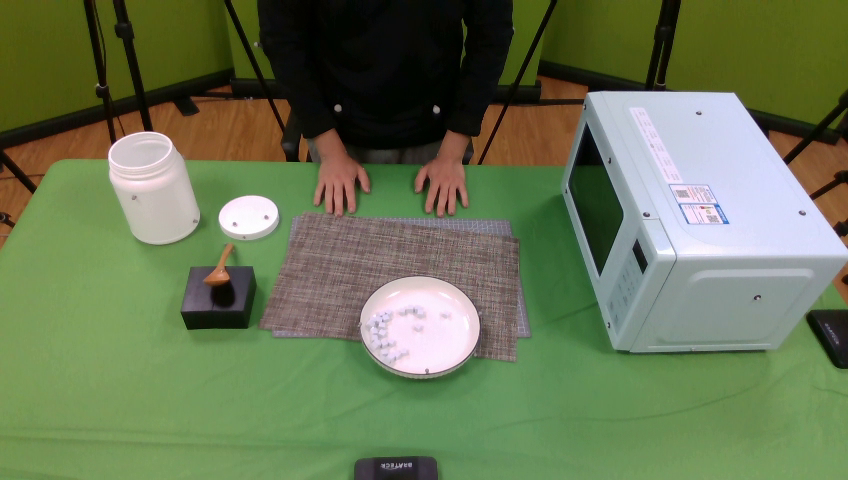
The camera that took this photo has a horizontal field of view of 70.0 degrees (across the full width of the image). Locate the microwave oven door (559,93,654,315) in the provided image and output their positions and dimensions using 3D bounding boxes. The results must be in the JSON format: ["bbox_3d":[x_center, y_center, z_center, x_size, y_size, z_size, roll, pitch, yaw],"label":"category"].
[{"bbox_3d":[0.327,-0.074,1.123,0.039,0.245,0.353,-1,46,-5],"label":"microwave oven door"}]

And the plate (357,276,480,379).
[{"bbox_3d":[-0.010,0.151,1.038,0.209,0.038,0.208,2,47,-2],"label":"plate"}]

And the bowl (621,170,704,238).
[{"bbox_3d":[0.446,-0.057,1.166,0.151,0.077,0.150,2,46,-2],"label":"bowl"}]

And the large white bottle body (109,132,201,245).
[{"bbox_3d":[-0.506,-0.097,1.141,0.131,0.185,0.130,2,46,-2],"label":"large white bottle body"}]

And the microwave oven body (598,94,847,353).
[{"bbox_3d":[0.475,-0.041,1.109,0.326,0.261,0.438,-1,45,-4],"label":"microwave oven body"}]

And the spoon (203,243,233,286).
[{"bbox_3d":[-0.360,0.039,1.087,0.041,0.022,0.192,-5,24,-7],"label":"spoon"}]

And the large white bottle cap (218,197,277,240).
[{"bbox_3d":[-0.354,-0.045,1.220,0.115,0.018,0.114,2,45,-2],"label":"large white bottle cap"}]

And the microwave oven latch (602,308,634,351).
[{"bbox_3d":[0.332,0.153,1.044,0.030,0.029,0.078,-1,45,-4],"label":"microwave oven latch"}]
